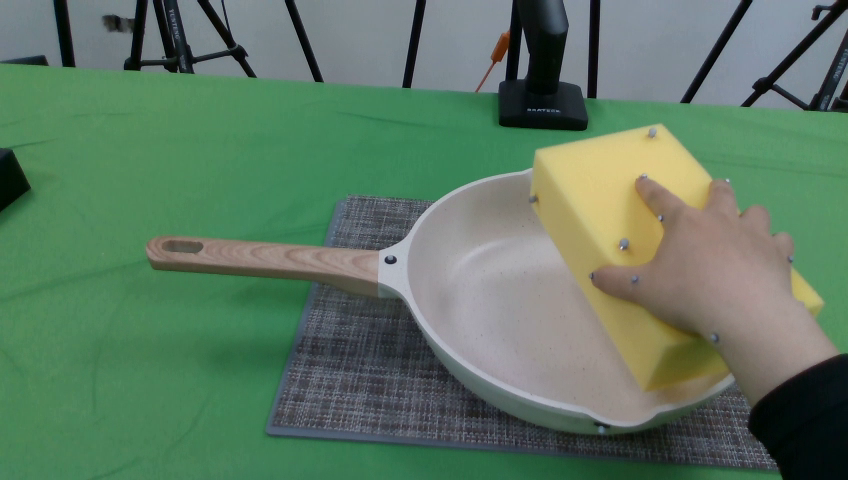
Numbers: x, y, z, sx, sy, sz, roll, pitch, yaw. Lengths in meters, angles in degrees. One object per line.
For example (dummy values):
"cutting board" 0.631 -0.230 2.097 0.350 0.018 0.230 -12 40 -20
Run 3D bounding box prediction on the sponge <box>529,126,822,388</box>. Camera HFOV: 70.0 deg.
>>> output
"sponge" 0.178 0.001 0.473 0.118 0.061 0.204 -14 47 -10

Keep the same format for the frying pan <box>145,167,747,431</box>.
"frying pan" 0.021 0.030 0.512 0.489 0.103 0.304 7 39 -6
